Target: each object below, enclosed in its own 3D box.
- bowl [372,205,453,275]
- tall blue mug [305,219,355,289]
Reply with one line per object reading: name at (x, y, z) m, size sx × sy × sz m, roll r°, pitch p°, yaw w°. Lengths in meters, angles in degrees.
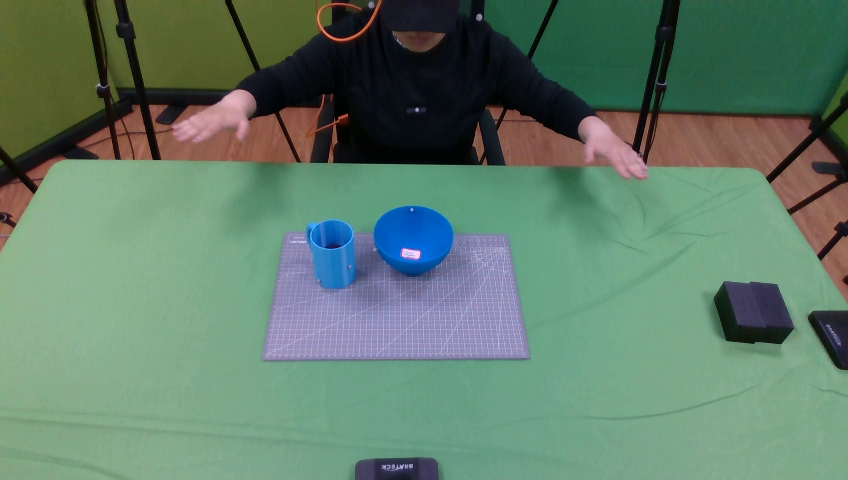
bowl at (-0.022, 0.013, 1.142) m, size 0.151 × 0.077 × 0.150 m, roll 2°, pitch 46°, yaw -2°
tall blue mug at (-0.180, 0.022, 1.099) m, size 0.107 × 0.108 × 0.077 m, roll 15°, pitch 48°, yaw 10°
